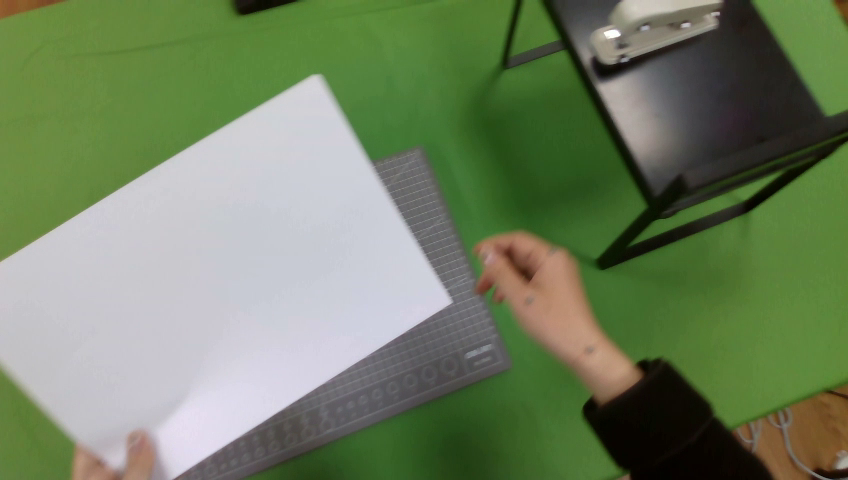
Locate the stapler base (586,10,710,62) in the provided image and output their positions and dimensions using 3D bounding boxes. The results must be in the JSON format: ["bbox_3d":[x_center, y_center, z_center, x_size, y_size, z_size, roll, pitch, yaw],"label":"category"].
[{"bbox_3d":[0.228,-0.218,0.606,0.131,0.024,0.041,-21,77,-10],"label":"stapler base"}]

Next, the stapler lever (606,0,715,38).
[{"bbox_3d":[0.230,-0.226,0.583,0.118,0.040,0.026,-22,77,-9],"label":"stapler lever"}]
